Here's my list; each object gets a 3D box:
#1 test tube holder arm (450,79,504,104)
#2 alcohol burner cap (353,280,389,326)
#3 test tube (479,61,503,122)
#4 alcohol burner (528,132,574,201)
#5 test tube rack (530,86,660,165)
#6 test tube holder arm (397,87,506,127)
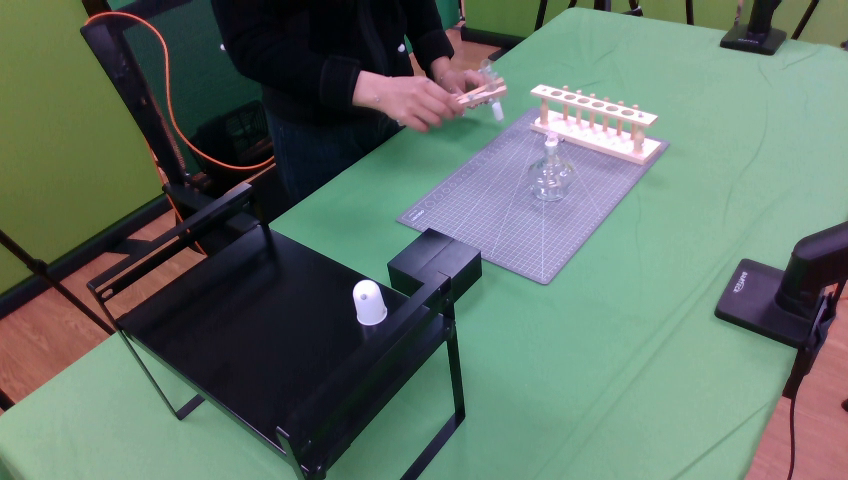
[{"bbox_3d":[0.083,-0.230,0.953,0.088,0.015,0.010,-23,63,6],"label":"test tube holder arm"},{"bbox_3d":[-0.055,0.061,0.616,0.034,0.048,0.033,-5,41,5],"label":"alcohol burner cap"},{"bbox_3d":[0.108,-0.231,0.955,0.017,0.151,0.017,-5,67,14],"label":"test tube"},{"bbox_3d":[0.214,-0.126,1.016,0.078,0.119,0.077,-5,39,5],"label":"alcohol burner"},{"bbox_3d":[0.320,-0.226,1.140,0.240,0.085,0.067,27,51,34],"label":"test tube rack"},{"bbox_3d":[0.042,-0.211,0.956,0.178,0.015,0.013,-16,63,9],"label":"test tube holder arm"}]
